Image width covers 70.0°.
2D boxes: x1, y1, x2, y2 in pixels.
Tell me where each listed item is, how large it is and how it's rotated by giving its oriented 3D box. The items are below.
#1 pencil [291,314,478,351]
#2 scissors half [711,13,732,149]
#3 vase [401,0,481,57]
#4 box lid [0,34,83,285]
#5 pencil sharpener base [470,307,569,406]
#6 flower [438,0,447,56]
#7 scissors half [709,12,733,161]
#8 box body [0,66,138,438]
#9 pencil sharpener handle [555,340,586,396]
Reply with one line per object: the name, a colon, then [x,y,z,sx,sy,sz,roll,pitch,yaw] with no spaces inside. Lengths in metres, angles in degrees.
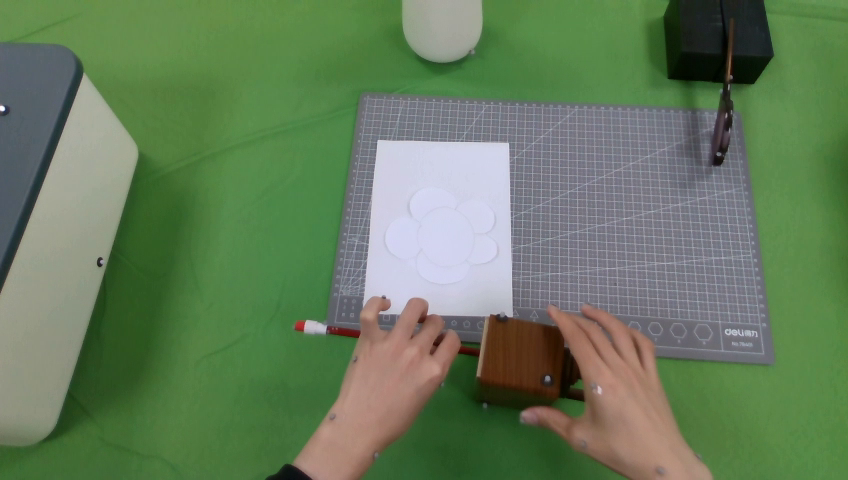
pencil: [-0.021,0.084,0.535,0.194,0.012,0.012,8,67,3]
scissors half: [0.330,-0.179,0.661,0.013,0.040,0.174,9,68,15]
vase: [0.017,-0.300,0.676,0.098,0.201,0.097,-1,66,3]
box lid: [-0.466,-0.033,0.517,0.263,0.015,0.369,4,67,3]
pencil sharpener base: [0.085,0.110,0.554,0.076,0.108,0.061,9,67,6]
flower: [0.008,-0.345,0.604,0.044,0.365,0.038,-3,49,4]
scissors half: [0.335,-0.173,0.680,0.012,0.040,0.175,8,86,20]
box body: [-0.463,-0.001,0.585,0.254,0.161,0.361,4,68,3]
pencil sharpener handle: [0.134,0.117,0.535,0.030,0.068,0.035,9,51,6]
